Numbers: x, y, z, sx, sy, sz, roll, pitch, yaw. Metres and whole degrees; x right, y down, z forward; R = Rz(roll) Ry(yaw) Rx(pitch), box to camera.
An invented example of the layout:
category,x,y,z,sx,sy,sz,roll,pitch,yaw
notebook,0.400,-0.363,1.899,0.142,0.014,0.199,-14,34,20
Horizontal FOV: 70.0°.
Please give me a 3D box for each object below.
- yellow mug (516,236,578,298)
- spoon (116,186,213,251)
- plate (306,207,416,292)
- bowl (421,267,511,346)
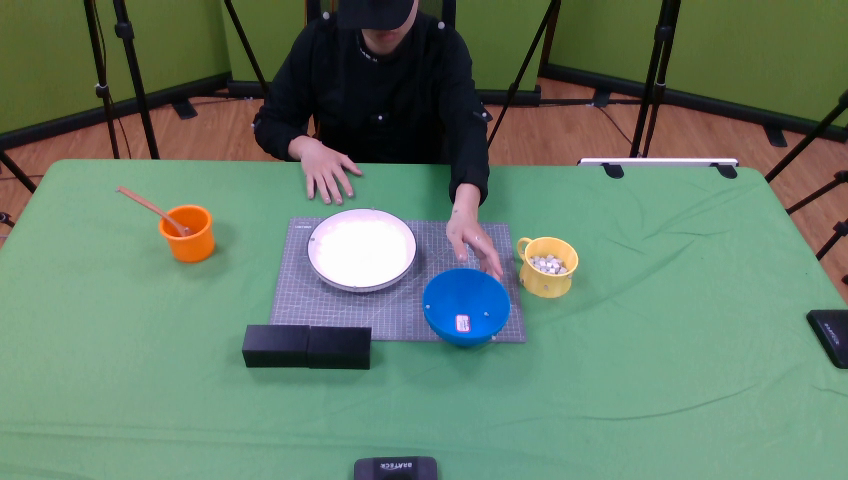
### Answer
category,x,y,z,sx,sy,sz,roll,pitch,yaw
yellow mug,0.223,0.041,1.145,0.100,0.064,0.130,-30,54,-28
spoon,-0.474,-0.041,1.112,0.021,0.195,0.041,-31,32,29
plate,-0.119,0.021,1.153,0.209,0.038,0.208,2,46,-2
bowl,0.068,0.128,1.037,0.151,0.077,0.150,3,46,-2
